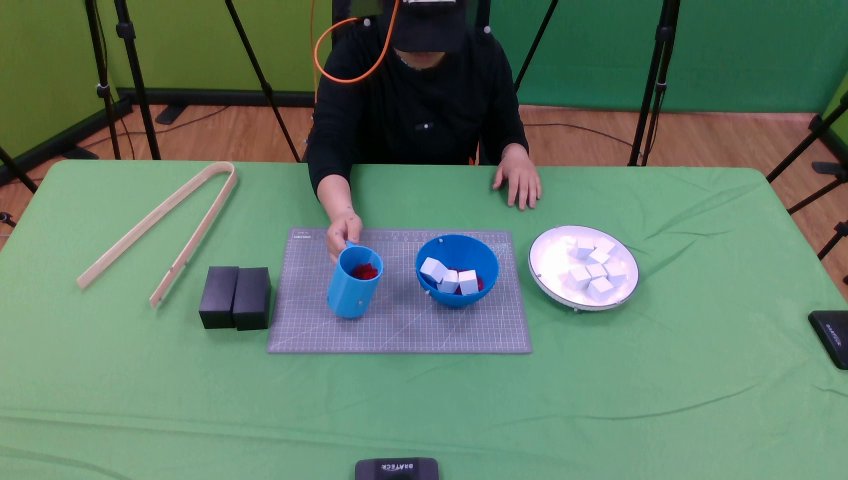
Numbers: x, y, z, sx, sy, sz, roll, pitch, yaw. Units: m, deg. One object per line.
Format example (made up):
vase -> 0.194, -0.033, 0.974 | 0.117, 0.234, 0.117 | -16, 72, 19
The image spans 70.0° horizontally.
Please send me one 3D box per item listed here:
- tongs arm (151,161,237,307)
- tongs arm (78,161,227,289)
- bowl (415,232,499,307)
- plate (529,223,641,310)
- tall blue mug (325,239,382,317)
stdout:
tongs arm -> -0.447, -0.026, 1.180 | 0.051, 0.027, 0.383 | 8, 46, 10
tongs arm -> -0.524, -0.043, 1.196 | 0.028, 0.028, 0.386 | 15, 47, 22
bowl -> 0.057, 0.067, 1.093 | 0.151, 0.077, 0.150 | 2, 46, -2
plate -> 0.303, 0.053, 1.156 | 0.209, 0.038, 0.208 | 2, 46, -1
tall blue mug -> -0.131, 0.060, 1.035 | 0.078, 0.108, 0.107 | -28, 65, -38
